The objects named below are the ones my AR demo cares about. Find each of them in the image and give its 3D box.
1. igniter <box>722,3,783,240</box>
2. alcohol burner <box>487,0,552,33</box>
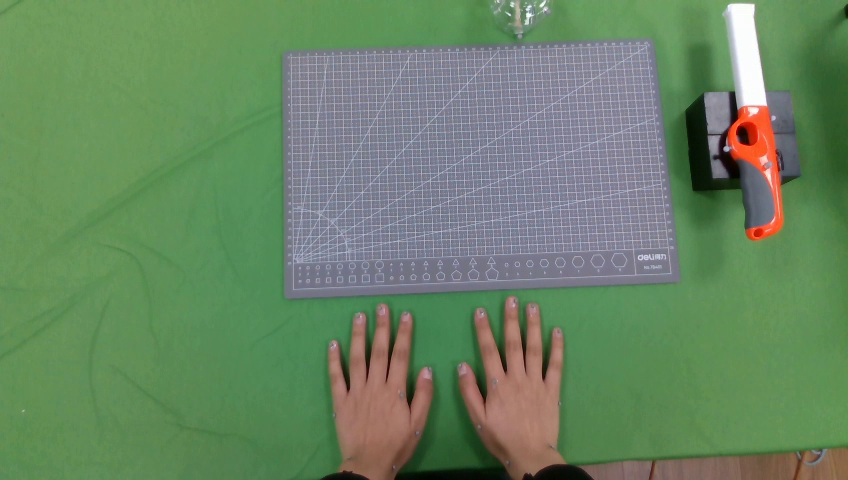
[{"bbox_3d":[0.358,-0.134,0.666,0.057,0.025,0.275,1,77,0],"label":"igniter"},{"bbox_3d":[0.112,-0.289,0.691,0.078,0.119,0.077,0,81,-2],"label":"alcohol burner"}]
